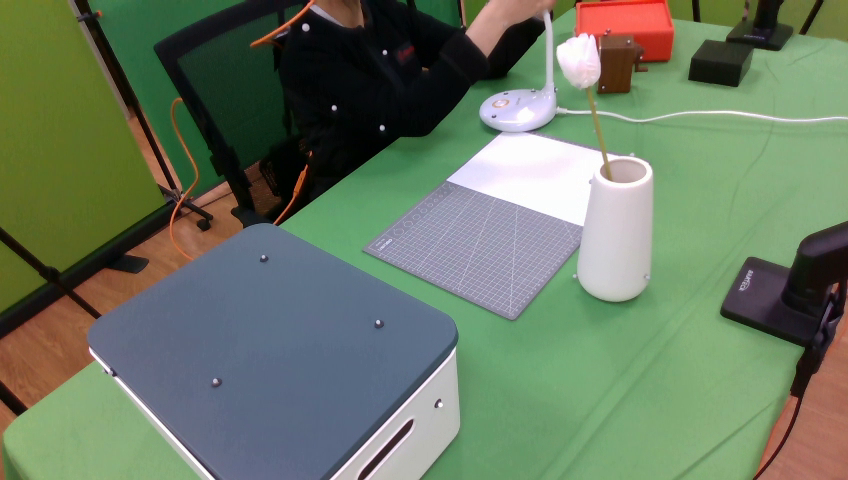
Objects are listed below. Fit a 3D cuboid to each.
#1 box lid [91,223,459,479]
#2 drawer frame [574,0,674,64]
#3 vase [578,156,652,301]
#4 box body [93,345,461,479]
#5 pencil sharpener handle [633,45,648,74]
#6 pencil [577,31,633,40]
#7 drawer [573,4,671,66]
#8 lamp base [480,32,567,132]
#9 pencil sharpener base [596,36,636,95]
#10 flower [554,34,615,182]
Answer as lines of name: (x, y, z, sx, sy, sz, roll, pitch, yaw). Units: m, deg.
box lid: (-0.174, 0.102, 0.666, 0.368, 0.015, 0.264, 24, 48, 35)
drawer frame: (0.464, -0.493, 1.434, 0.213, 0.083, 0.201, 1, 40, 12)
vase: (0.261, -0.011, 0.812, 0.098, 0.201, 0.097, -4, 40, 4)
box body: (-0.162, 0.170, 0.708, 0.361, 0.161, 0.255, 25, 50, 34)
pencil sharpener handle: (0.454, -0.378, 1.262, 0.030, 0.068, 0.036, 1, 47, 13)
pencil: (0.430, -0.487, 1.444, 0.012, 0.012, 0.192, -25, 30, -18)
drawer: (0.461, -0.490, 1.435, 0.211, 0.073, 0.194, 2, 41, 12)
lamp base: (0.201, -0.331, 1.218, 0.179, 0.181, 0.160, 2, 41, 8)
pencil sharpener base: (0.406, -0.369, 1.280, 0.076, 0.107, 0.061, 1, 41, 13)
flower: (0.237, -0.083, 0.774, 0.044, 0.363, 0.038, -22, 26, 6)
